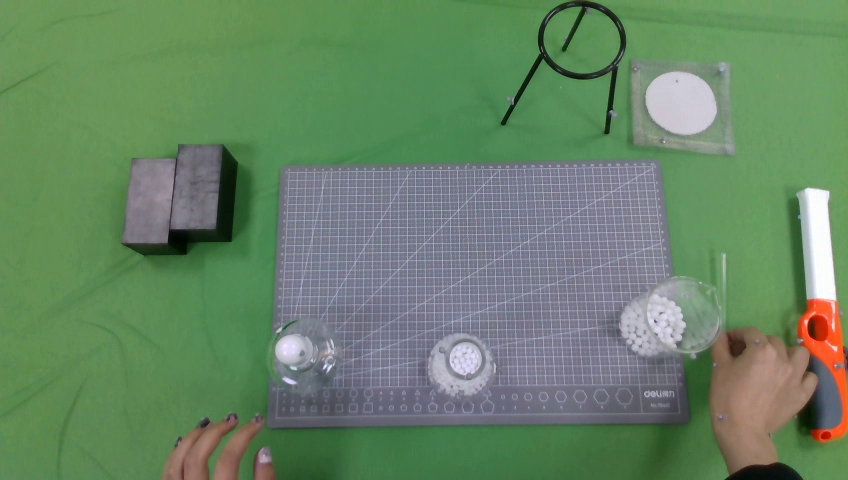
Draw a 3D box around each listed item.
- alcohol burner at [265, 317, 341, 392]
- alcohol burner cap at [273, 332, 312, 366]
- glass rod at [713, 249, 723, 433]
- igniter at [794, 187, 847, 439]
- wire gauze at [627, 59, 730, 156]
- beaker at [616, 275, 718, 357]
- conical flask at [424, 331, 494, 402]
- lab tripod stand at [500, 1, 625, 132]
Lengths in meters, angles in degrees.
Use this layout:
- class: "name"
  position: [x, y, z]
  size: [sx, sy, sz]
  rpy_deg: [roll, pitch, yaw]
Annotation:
- class: "alcohol burner"
  position: [-0.126, 0.113, 0.612]
  size: [0.078, 0.120, 0.077]
  rpy_deg: [-1, 74, 3]
- class: "alcohol burner cap"
  position: [-0.127, 0.103, 0.577]
  size: [0.034, 0.048, 0.033]
  rpy_deg: [1, 79, -2]
- class: "glass rod"
  position: [0.321, 0.107, 0.661]
  size: [0.008, 0.008, 0.199]
  rpy_deg: [4, 78, 2]
- class: "igniter"
  position: [0.432, 0.075, 0.663]
  size: [0.057, 0.025, 0.275]
  rpy_deg: [7, 75, -8]
- class: "wire gauze"
  position: [0.310, -0.165, 0.737]
  size: [0.125, 0.011, 0.121]
  rpy_deg: [5, 76, 0]
- class: "beaker"
  position: [0.247, 0.080, 0.624]
  size: [0.084, 0.101, 0.073]
  rpy_deg: [-37, 78, -9]
- class: "conical flask"
  position: [0.037, 0.122, 0.603]
  size: [0.075, 0.122, 0.075]
  rpy_deg: [0, 74, 1]
- class: "lab tripod stand"
  position: [0.159, -0.187, 0.680]
  size: [0.148, 0.132, 0.147]
  rpy_deg: [0, 77, 1]
